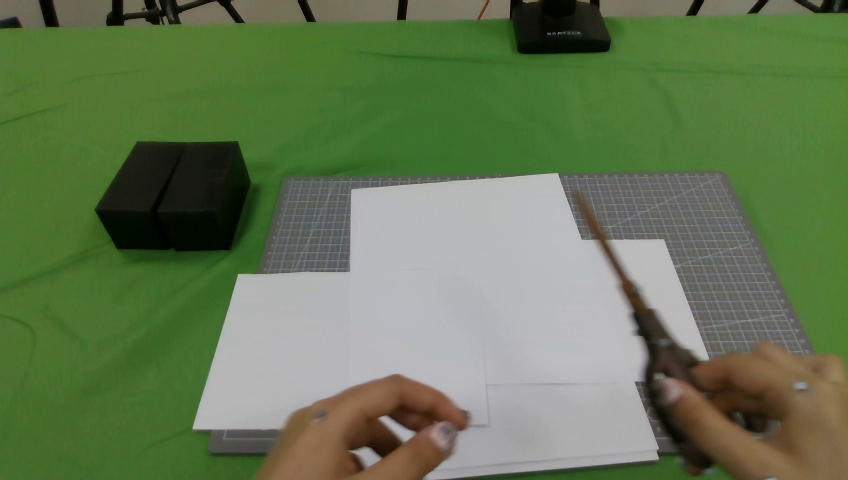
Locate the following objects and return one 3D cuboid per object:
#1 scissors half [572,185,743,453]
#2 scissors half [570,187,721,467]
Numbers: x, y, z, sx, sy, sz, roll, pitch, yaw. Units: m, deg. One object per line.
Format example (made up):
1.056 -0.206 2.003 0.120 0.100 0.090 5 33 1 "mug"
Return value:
0.132 0.039 0.355 0.040 0.013 0.174 -12 67 -45 "scissors half"
0.117 0.040 0.342 0.040 0.013 0.173 11 51 -41 "scissors half"
